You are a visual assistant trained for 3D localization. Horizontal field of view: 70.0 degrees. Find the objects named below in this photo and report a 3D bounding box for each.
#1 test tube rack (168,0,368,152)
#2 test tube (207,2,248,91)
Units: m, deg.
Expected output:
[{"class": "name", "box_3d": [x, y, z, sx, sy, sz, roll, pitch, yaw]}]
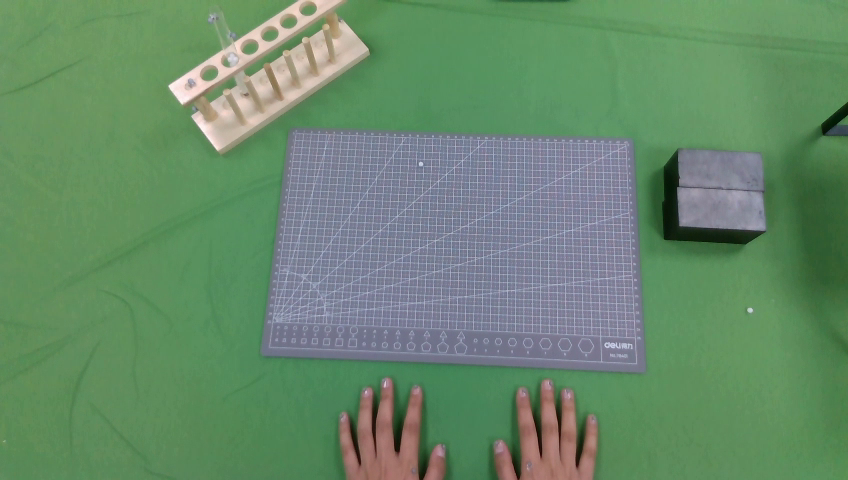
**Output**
[{"class": "test tube rack", "box_3d": [-0.192, -0.223, 0.778, 0.242, 0.085, 0.066, -37, 75, -9]}, {"class": "test tube", "box_3d": [-0.233, -0.227, 0.729, 0.017, 0.151, 0.017, 1, 69, -3]}]
